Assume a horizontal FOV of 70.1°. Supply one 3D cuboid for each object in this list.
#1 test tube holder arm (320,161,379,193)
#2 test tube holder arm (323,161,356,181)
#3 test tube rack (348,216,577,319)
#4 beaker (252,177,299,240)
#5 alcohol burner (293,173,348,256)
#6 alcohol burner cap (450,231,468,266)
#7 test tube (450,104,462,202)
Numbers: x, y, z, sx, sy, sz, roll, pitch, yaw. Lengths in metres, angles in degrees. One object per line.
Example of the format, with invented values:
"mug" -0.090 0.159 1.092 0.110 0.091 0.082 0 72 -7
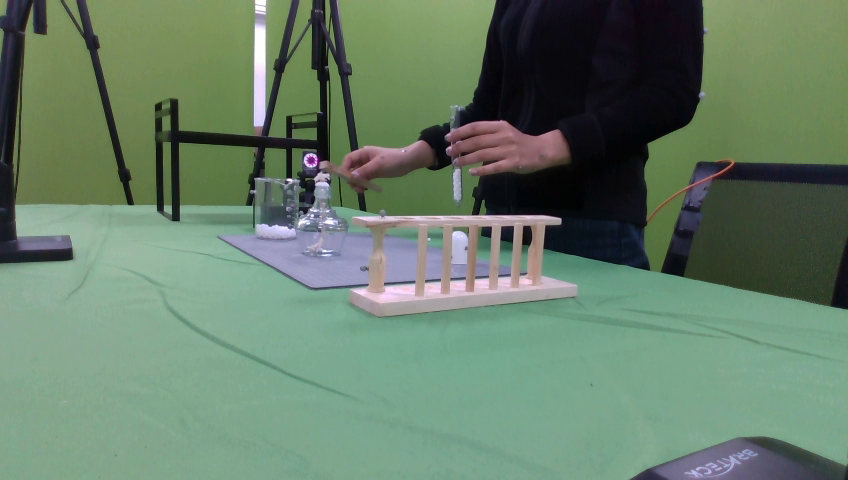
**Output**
"test tube holder arm" -0.139 -0.120 1.165 0.013 0.015 0.179 6 -8 30
"test tube holder arm" -0.156 -0.128 1.124 0.010 0.015 0.088 6 -8 31
"test tube rack" 0.048 0.021 0.619 0.244 0.085 0.066 -2 9 -31
"beaker" -0.245 -0.052 1.005 0.074 0.100 0.083 -3 10 -32
"alcohol burner" -0.147 -0.036 0.859 0.078 0.119 0.078 4 8 0
"alcohol burner cap" 0.046 0.012 0.839 0.034 0.048 0.034 3 5 0
"test tube" 0.050 -0.134 0.936 0.017 0.150 0.017 -2 9 1
